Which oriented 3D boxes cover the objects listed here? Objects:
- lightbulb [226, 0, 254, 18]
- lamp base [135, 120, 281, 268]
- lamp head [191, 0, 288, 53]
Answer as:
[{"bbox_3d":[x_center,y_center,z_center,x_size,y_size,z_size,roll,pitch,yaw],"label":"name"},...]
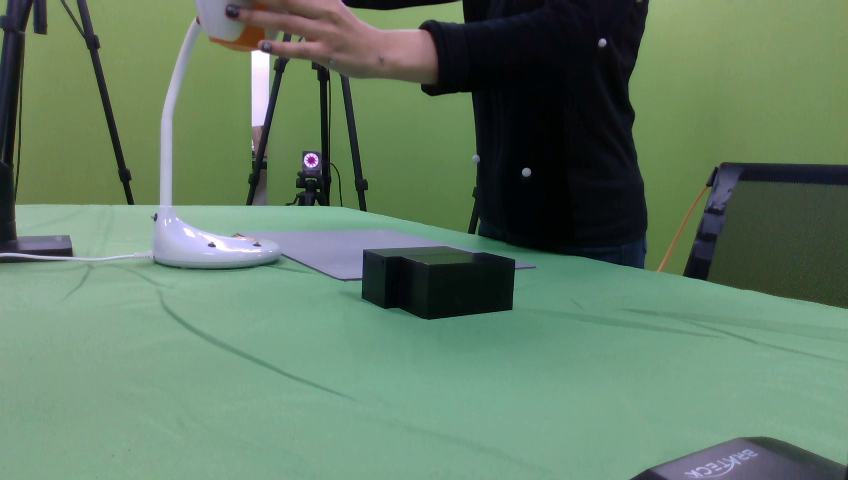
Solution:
[{"bbox_3d":[-0.178,-0.276,0.601,0.059,0.107,0.059,11,11,-2],"label":"lightbulb"},{"bbox_3d":[-0.276,-0.061,0.773,0.160,0.180,0.180,9,13,44],"label":"lamp base"},{"bbox_3d":[-0.188,-0.253,0.608,0.112,0.123,0.112,10,20,-3],"label":"lamp head"}]
